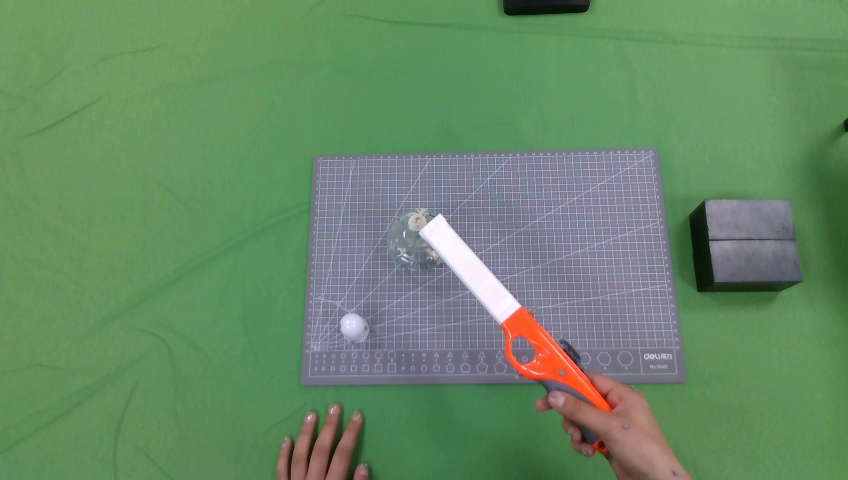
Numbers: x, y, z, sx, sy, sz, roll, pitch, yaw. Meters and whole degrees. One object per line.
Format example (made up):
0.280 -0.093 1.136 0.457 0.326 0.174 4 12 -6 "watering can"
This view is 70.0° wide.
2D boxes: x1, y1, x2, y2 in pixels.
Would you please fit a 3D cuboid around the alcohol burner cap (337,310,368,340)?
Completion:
-0.086 0.099 0.712 0.034 0.048 0.033 -1 74 5 "alcohol burner cap"

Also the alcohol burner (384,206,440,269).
-0.009 -0.008 0.705 0.078 0.120 0.077 0 72 0 "alcohol burner"

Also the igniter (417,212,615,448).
0.089 0.082 0.597 0.057 0.025 0.275 -40 76 -1 "igniter"
